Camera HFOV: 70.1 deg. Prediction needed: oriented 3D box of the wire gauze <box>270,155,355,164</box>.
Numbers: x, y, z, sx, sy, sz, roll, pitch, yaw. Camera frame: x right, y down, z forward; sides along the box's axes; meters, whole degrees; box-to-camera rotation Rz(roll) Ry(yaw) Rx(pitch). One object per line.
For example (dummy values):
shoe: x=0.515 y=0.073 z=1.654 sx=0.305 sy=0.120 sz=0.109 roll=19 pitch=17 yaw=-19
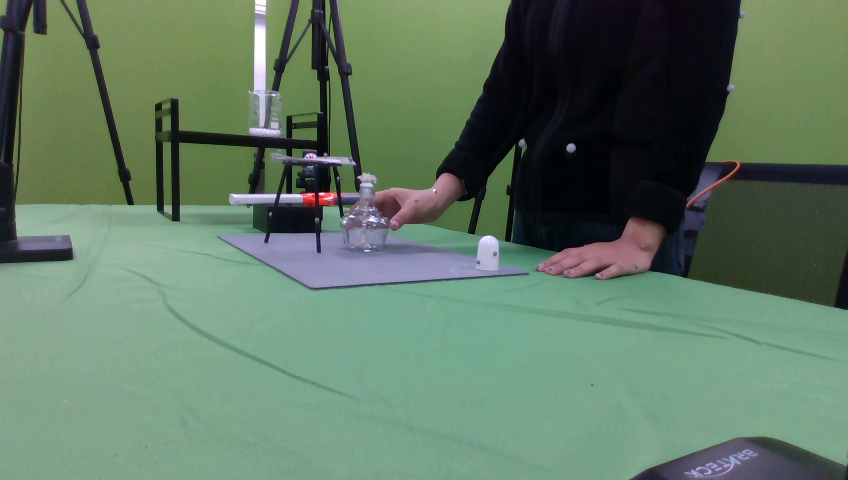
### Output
wire gauze: x=-0.173 y=-0.123 z=0.925 sx=0.125 sy=0.011 sz=0.121 roll=0 pitch=8 yaw=-12

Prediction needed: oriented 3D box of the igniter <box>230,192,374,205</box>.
igniter: x=-0.228 y=-0.079 z=1.164 sx=0.278 sy=0.025 sz=0.057 roll=-2 pitch=15 yaw=-30

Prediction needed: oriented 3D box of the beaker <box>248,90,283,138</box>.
beaker: x=-0.354 y=-0.278 z=1.340 sx=0.074 sy=0.100 sz=0.084 roll=6 pitch=9 yaw=26

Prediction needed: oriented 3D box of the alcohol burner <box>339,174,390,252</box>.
alcohol burner: x=-0.090 y=-0.042 z=0.921 sx=0.078 sy=0.119 sz=0.078 roll=4 pitch=8 yaw=0

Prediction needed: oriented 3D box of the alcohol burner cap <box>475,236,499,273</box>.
alcohol burner cap: x=0.084 y=0.019 z=0.799 sx=0.034 sy=0.048 sz=0.034 roll=2 pitch=6 yaw=0

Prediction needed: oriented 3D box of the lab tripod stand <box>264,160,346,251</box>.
lab tripod stand: x=-0.177 y=-0.056 z=0.929 sx=0.148 sy=0.131 sz=0.148 roll=1 pitch=9 yaw=0
